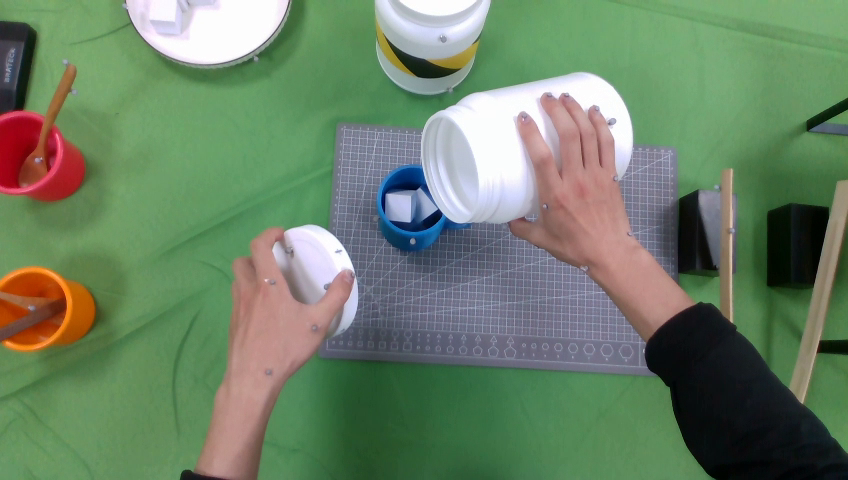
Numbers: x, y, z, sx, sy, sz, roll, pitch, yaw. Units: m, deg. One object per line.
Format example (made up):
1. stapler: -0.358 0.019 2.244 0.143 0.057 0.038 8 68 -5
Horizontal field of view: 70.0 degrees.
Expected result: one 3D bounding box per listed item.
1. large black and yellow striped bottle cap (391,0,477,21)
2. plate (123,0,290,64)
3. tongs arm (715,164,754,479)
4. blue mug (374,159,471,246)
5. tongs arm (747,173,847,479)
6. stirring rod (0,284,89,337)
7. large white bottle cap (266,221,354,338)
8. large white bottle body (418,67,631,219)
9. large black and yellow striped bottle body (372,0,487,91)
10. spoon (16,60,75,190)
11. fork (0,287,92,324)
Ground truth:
1. large black and yellow striped bottle cap: 0.009 -0.287 0.635 0.115 0.019 0.114 1 82 -5
2. plate: -0.274 -0.321 0.778 0.208 0.039 0.207 1 82 -4
3. tongs arm: 0.376 0.103 0.727 0.051 0.026 0.385 -1 93 -7
4. blue mug: 0.000 -0.038 0.718 0.116 0.106 0.082 11 80 -2
5. tongs arm: 0.458 0.109 0.734 0.028 0.027 0.387 13 92 -10
6. stirring rod: -0.446 0.091 0.653 0.014 0.006 0.176 51 39 1
7. large white bottle cap: -0.114 0.039 0.596 0.018 0.114 0.114 -13 79 -50
8. large white bottle body: 0.099 -0.096 0.615 0.185 0.130 0.130 -18 82 -24
9. large black and yellow striped bottle body: 0.004 -0.272 0.717 0.131 0.184 0.130 1 81 -4
10. spoon: -0.427 -0.126 0.684 0.041 0.021 0.194 49 125 8
11. fork: -0.467 0.052 0.652 0.209 0.018 0.028 31 75 -43
